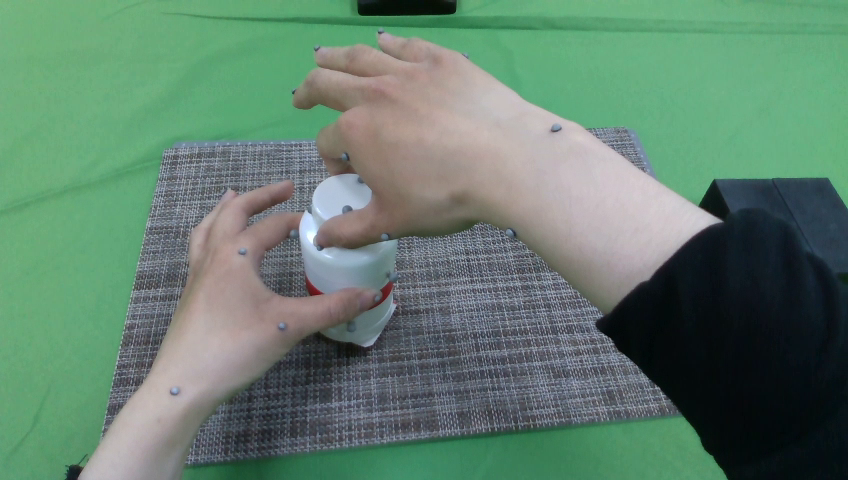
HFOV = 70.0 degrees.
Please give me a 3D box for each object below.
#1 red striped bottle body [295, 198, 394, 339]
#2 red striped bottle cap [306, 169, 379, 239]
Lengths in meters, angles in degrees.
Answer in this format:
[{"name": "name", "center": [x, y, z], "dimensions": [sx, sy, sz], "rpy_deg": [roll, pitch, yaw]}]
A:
[{"name": "red striped bottle body", "center": [-0.053, 0.011, 0.409], "dimensions": [0.063, 0.120, 0.062], "rpy_deg": [4, 51, -4]}, {"name": "red striped bottle cap", "center": [-0.049, -0.022, 0.368], "dimensions": [0.044, 0.018, 0.044], "rpy_deg": [5, 52, -6]}]
